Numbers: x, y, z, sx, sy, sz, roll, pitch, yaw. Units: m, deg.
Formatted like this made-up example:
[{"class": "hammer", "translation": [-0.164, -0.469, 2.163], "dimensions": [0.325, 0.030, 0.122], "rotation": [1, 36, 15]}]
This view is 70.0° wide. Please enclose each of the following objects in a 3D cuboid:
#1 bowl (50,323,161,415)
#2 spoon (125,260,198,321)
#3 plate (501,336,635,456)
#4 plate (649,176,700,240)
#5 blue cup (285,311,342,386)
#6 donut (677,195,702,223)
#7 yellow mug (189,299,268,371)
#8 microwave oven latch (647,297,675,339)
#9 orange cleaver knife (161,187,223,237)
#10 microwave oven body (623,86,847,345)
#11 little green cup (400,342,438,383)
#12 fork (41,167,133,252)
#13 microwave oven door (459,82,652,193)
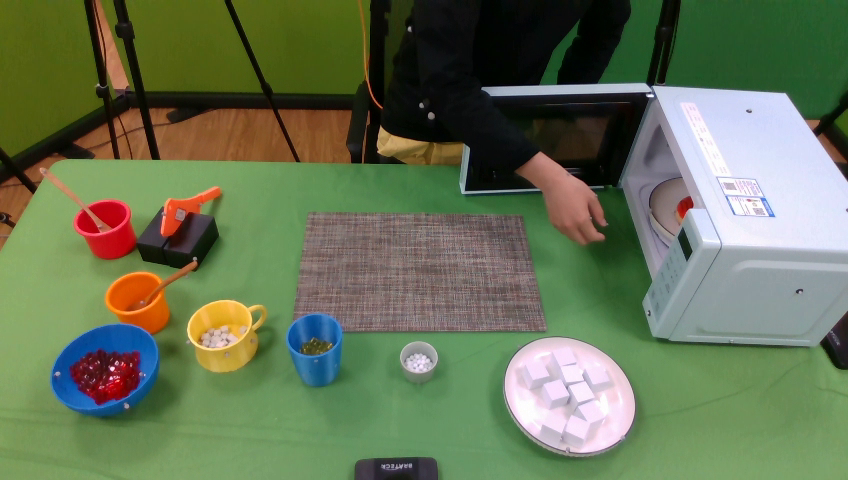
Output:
[{"class": "bowl", "translation": [-0.472, 0.209, 0.924], "dimensions": [0.151, 0.077, 0.150], "rotation": [2, 45, -2]}, {"class": "spoon", "translation": [-0.435, 0.083, 1.000], "dimensions": [0.022, 0.194, 0.041], "rotation": [35, 34, -34]}, {"class": "plate", "translation": [0.225, 0.248, 0.963], "dimensions": [0.208, 0.039, 0.206], "rotation": [2, 46, -2]}, {"class": "plate", "translation": [0.543, -0.045, 1.180], "dimensions": [0.209, 0.038, 0.208], "rotation": [1, 46, -1]}, {"class": "blue cup", "translation": [-0.170, 0.179, 0.958], "dimensions": [0.093, 0.101, 0.092], "rotation": [1, 44, -1]}, {"class": "donut", "translation": [0.539, -0.048, 1.170], "dimensions": [0.099, 0.048, 0.098], "rotation": [3, 45, -3]}, {"class": "yellow mug", "translation": [-0.316, 0.148, 1.002], "dimensions": [0.131, 0.064, 0.099], "rotation": [-32, 56, -31]}, {"class": "microwave oven latch", "translation": [0.413, 0.134, 1.060], "dimensions": [0.030, 0.029, 0.078], "rotation": [5, 45, 2]}, {"class": "orange cleaver knife", "translation": [-0.448, -0.058, 1.181], "dimensions": [0.012, 0.077, 0.211], "rotation": [13, 17, 6]}, {"class": "microwave oven body", "translation": [0.567, -0.053, 1.118], "dimensions": [0.326, 0.261, 0.439], "rotation": [2, 45, -1]}, {"class": "little green cup", "translation": [-0.010, 0.202, 0.991], "dimensions": [0.061, 0.039, 0.061], "rotation": [2, 47, -2]}, {"class": "fork", "translation": [-0.624, -0.055, 1.121], "dimensions": [0.208, 0.018, 0.028], "rotation": [49, 52, -15]}, {"class": "microwave oven door", "translation": [0.259, -0.206, 1.238], "dimensions": [0.356, 0.245, 0.039], "rotation": [-3, 46, -7]}]
